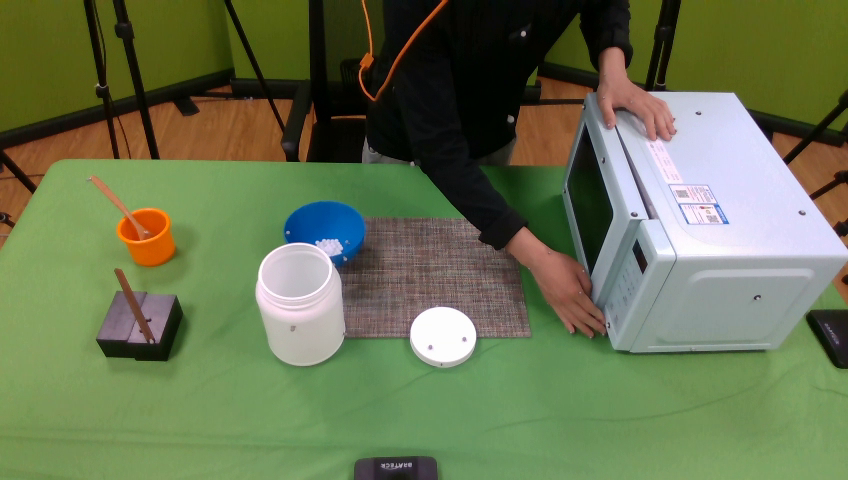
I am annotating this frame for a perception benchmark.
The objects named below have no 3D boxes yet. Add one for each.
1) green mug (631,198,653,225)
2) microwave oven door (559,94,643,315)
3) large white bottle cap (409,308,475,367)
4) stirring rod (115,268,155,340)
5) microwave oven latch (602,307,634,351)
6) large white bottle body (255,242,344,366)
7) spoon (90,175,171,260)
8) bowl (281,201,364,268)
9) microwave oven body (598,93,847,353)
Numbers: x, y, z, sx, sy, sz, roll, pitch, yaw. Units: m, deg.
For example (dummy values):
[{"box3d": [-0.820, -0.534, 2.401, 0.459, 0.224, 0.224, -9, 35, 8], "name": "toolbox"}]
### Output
[{"box3d": [0.455, -0.059, 1.156, 0.125, 0.105, 0.092, -13, 47, -11], "name": "green mug"}, {"box3d": [0.318, -0.074, 1.123, 0.039, 0.245, 0.353, 2, 46, -3], "name": "microwave oven door"}, {"box3d": [0.031, 0.166, 1.041, 0.115, 0.018, 0.114, 2, 47, -2], "name": "large white bottle cap"}, {"box3d": [-0.479, 0.103, 0.999, 0.014, 0.006, 0.175, 7, 32, -49], "name": "stirring rod"}, {"box3d": [0.332, 0.153, 1.044, 0.030, 0.029, 0.078, 0, 45, -4], "name": "microwave oven latch"}, {"box3d": [-0.196, 0.102, 0.967, 0.131, 0.185, 0.130, 2, 49, -2], "name": "large white bottle body"}, {"box3d": [-0.539, -0.042, 1.111, 0.041, 0.194, 0.021, -45, 19, -32], "name": "spoon"}, {"box3d": [-0.187, 0.005, 1.137, 0.151, 0.077, 0.150, 3, 46, -3], "name": "bowl"}, {"box3d": [0.475, -0.042, 1.109, 0.326, 0.261, 0.438, -1, 45, -4], "name": "microwave oven body"}]
